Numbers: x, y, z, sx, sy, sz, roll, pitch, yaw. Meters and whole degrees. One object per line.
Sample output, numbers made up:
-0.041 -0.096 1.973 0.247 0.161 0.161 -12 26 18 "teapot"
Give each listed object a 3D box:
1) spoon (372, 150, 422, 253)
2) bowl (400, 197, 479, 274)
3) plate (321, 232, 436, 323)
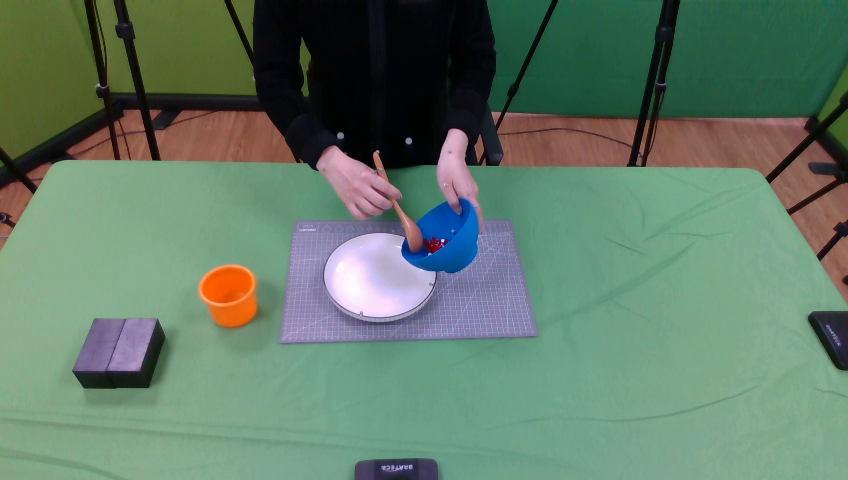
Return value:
-0.048 -0.063 1.033 0.021 0.194 0.041 -10 26 42 "spoon"
0.041 0.005 1.045 0.151 0.077 0.150 -32 27 19 "bowl"
-0.082 0.070 1.109 0.209 0.038 0.208 3 46 -3 "plate"
